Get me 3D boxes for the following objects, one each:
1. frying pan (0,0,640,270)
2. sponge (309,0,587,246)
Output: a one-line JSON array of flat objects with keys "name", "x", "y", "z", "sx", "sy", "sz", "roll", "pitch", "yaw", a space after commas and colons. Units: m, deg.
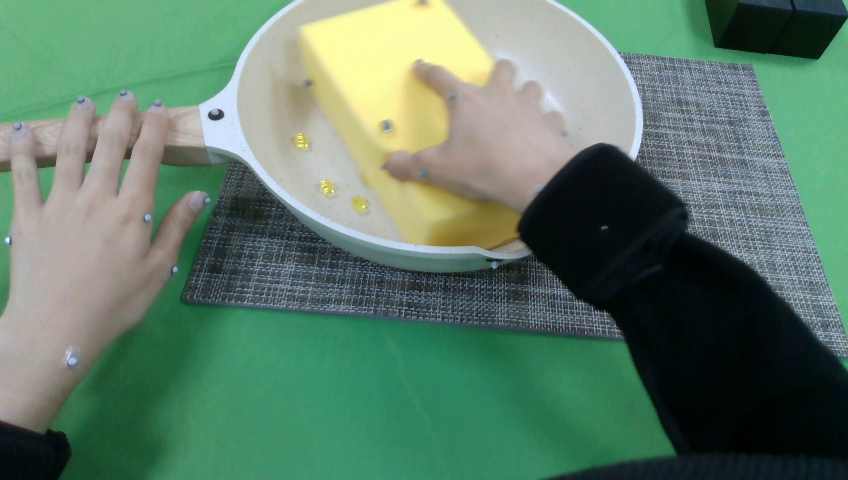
[{"name": "frying pan", "x": -0.090, "y": -0.082, "z": 0.424, "sx": 0.489, "sy": 0.103, "sz": 0.303, "roll": -7, "pitch": 55, "yaw": -19}, {"name": "sponge", "x": 0.009, "y": -0.093, "z": 0.451, "sx": 0.118, "sy": 0.061, "sz": 0.205, "roll": -23, "pitch": 62, "yaw": -16}]
